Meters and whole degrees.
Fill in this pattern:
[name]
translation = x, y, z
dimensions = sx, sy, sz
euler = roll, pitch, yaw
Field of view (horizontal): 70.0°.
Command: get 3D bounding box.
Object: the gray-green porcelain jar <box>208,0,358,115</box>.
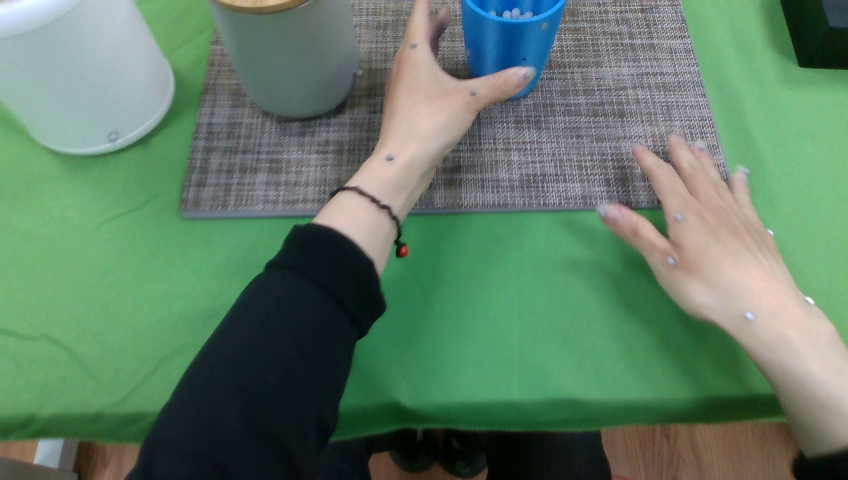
[gray-green porcelain jar]
translation = -0.110, -0.175, 0.495
dimensions = 0.106, 0.127, 0.105
euler = 0, 63, 1

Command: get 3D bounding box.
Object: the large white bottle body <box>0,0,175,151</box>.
[large white bottle body]
translation = -0.288, -0.171, 0.465
dimensions = 0.130, 0.186, 0.129
euler = 0, 63, 1

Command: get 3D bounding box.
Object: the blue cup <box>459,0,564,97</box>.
[blue cup]
translation = 0.070, -0.175, 0.508
dimensions = 0.092, 0.101, 0.092
euler = -1, 62, 2

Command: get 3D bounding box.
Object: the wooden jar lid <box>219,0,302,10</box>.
[wooden jar lid]
translation = -0.110, -0.204, 0.439
dimensions = 0.108, 0.021, 0.107
euler = -1, 64, 3
